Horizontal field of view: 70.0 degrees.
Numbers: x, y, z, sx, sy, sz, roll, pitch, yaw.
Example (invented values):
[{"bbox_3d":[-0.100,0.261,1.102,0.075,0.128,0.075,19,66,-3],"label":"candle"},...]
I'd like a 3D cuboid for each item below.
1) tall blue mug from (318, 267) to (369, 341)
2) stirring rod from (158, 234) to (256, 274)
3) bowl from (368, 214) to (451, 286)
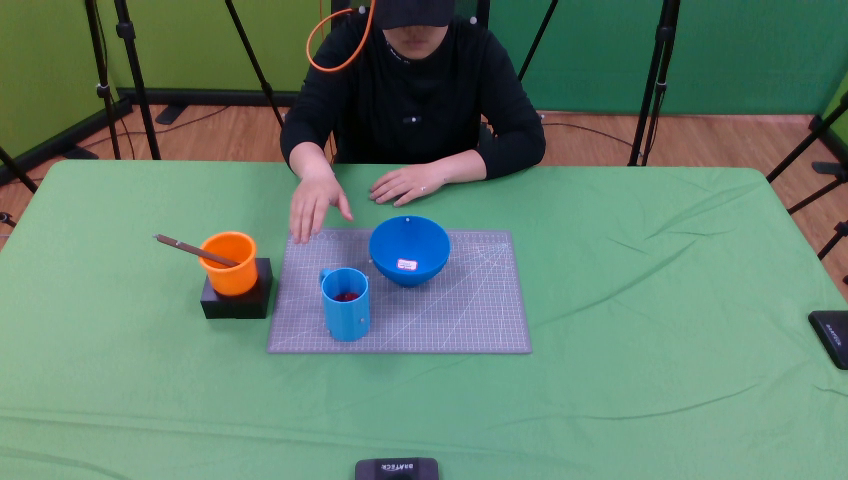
[{"bbox_3d":[-0.146,0.104,1.023,0.107,0.108,0.077,19,49,14],"label":"tall blue mug"},{"bbox_3d":[-0.353,0.024,0.999,0.177,0.006,0.014,26,29,-40],"label":"stirring rod"},{"bbox_3d":[-0.028,0.031,1.122,0.151,0.077,0.150,2,46,-2],"label":"bowl"}]
